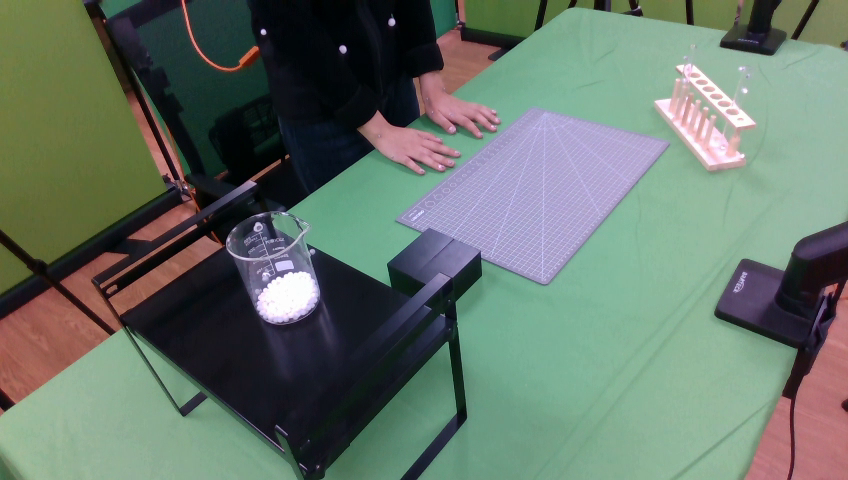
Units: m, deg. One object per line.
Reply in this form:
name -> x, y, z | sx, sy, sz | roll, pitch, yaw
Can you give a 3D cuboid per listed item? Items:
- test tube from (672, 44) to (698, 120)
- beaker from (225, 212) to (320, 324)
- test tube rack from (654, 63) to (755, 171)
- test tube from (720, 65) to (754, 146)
test tube -> 0.483, -0.291, 1.122 | 0.017, 0.151, 0.017 | -2, 41, 2
beaker -> -0.149, 0.031, 0.625 | 0.084, 0.101, 0.073 | -18, 42, -13
test tube rack -> 0.510, -0.233, 1.120 | 0.067, 0.085, 0.241 | -8, 41, -1
test tube -> 0.533, -0.226, 1.032 | 0.017, 0.151, 0.017 | -1, 40, 2
